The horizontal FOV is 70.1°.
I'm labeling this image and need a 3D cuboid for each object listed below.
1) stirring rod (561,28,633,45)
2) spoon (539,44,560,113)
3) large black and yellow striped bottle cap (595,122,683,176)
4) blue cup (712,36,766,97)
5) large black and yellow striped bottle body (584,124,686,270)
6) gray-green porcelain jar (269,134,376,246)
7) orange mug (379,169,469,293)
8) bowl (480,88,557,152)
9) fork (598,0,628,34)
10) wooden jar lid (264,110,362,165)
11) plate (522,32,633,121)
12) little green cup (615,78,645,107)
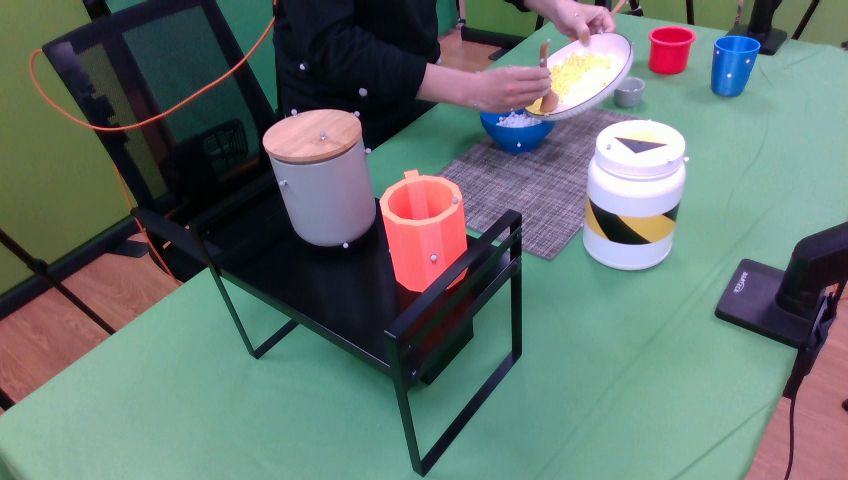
[{"bbox_3d":[0.382,-0.454,1.345,0.174,0.006,0.014,27,52,33],"label":"stirring rod"},{"bbox_3d":[0.204,-0.265,1.008,0.041,0.195,0.021,-30,64,4],"label":"spoon"},{"bbox_3d":[0.293,-0.126,0.826,0.115,0.019,0.114,-3,40,3],"label":"large black and yellow striped bottle cap"},{"bbox_3d":[0.627,-0.350,1.227,0.092,0.100,0.092,-4,39,4],"label":"blue cup"},{"bbox_3d":[0.304,-0.063,0.880,0.131,0.185,0.130,-5,41,5],"label":"large black and yellow striped bottle body"},{"bbox_3d":[-0.115,-0.064,0.715,0.106,0.127,0.105,-4,40,4],"label":"gray-green porcelain jar"},{"bbox_3d":[-0.002,-0.019,0.665,0.083,0.101,0.125,-12,45,-4],"label":"orange mug"},{"bbox_3d":[0.185,-0.222,1.160,0.151,0.077,0.150,-5,40,5],"label":"bowl"},{"bbox_3d":[0.413,-0.481,1.377,0.207,0.019,0.028,-56,43,12],"label":"fork"},{"bbox_3d":[-0.122,-0.112,0.673,0.108,0.021,0.108,-4,37,4],"label":"wooden jar lid"},{"bbox_3d":[0.277,-0.288,1.087,0.208,0.038,0.208,-27,36,23],"label":"plate"},{"bbox_3d":[0.426,-0.306,1.257,0.061,0.039,0.061,-4,40,4],"label":"little green cup"}]
